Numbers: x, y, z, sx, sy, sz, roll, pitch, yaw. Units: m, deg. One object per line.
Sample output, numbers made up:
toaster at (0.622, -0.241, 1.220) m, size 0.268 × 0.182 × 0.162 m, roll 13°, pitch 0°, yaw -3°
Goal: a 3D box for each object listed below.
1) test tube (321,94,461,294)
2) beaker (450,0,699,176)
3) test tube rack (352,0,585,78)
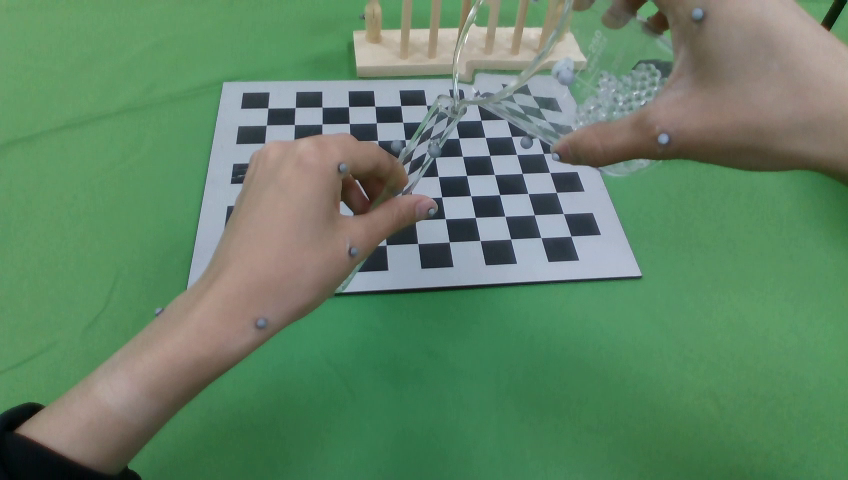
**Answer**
test tube at (-0.024, -0.018, 0.334) m, size 0.017 × 0.151 × 0.017 m, roll 22°, pitch 39°, yaw -19°
beaker at (0.072, -0.076, 0.287) m, size 0.101 × 0.084 × 0.073 m, roll 21°, pitch 36°, yaw -32°
test tube rack at (0.048, -0.225, 0.621) m, size 0.243 × 0.086 × 0.066 m, roll -4°, pitch 50°, yaw -7°
